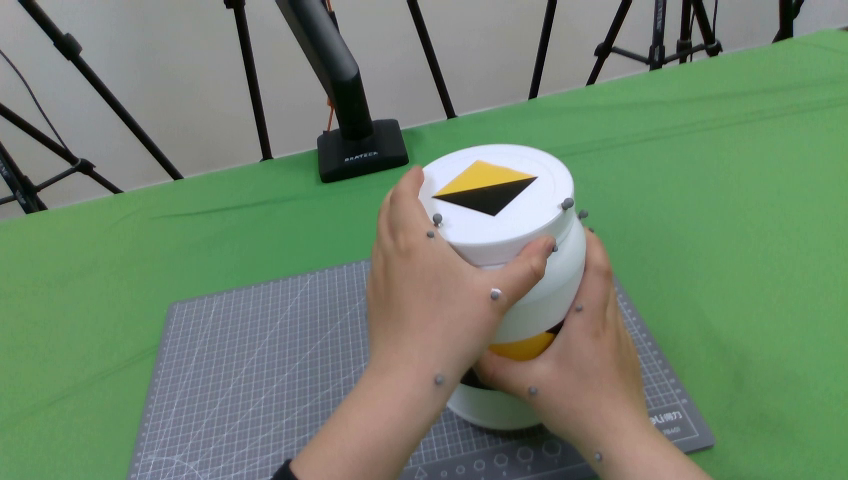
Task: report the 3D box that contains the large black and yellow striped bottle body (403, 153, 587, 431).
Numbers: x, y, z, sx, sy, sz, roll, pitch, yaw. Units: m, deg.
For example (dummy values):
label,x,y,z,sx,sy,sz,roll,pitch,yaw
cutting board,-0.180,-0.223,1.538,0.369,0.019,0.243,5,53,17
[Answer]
label,x,y,z,sx,sy,sz,roll,pitch,yaw
large black and yellow striped bottle body,0.056,0.040,0.458,0.130,0.186,0.129,-7,39,6

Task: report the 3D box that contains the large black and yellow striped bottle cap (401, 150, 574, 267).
label,x,y,z,sx,sy,sz,roll,pitch,yaw
large black and yellow striped bottle cap,0.041,-0.025,0.405,0.115,0.019,0.114,-7,37,6
